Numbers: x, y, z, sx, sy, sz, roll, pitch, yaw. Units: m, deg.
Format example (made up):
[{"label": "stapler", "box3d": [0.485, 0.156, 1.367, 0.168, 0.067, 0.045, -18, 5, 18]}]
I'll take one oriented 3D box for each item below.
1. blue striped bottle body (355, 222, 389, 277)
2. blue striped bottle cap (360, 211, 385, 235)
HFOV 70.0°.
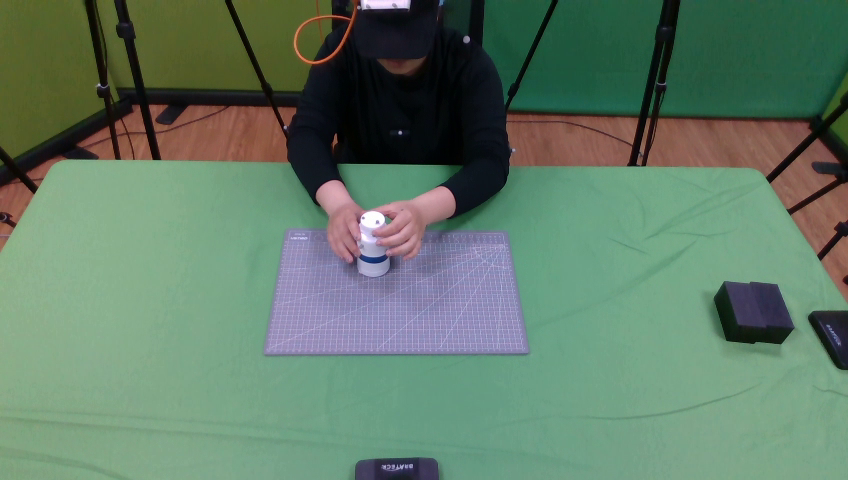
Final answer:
[{"label": "blue striped bottle body", "box3d": [-0.095, 0.007, 1.112, 0.063, 0.121, 0.062, 2, 46, -2]}, {"label": "blue striped bottle cap", "box3d": [-0.092, -0.031, 1.074, 0.044, 0.021, 0.044, 2, 48, -2]}]
